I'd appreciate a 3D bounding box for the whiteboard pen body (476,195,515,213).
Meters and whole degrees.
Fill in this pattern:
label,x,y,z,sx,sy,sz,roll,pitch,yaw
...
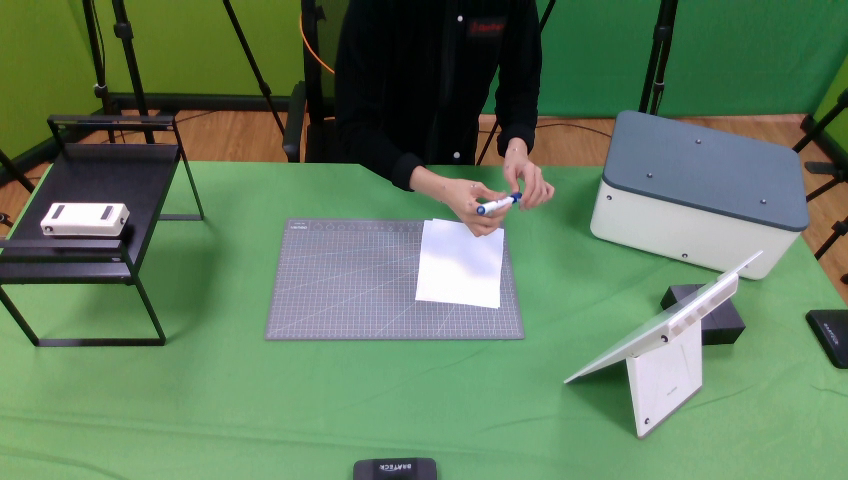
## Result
label,x,y,z,sx,sy,sz,roll,pitch,yaw
whiteboard pen body,0.126,-0.063,1.034,0.017,0.017,0.141,31,26,23

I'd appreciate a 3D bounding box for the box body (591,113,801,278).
label,x,y,z,sx,sy,sz,roll,pitch,yaw
box body,0.540,-0.092,1.229,0.363,0.161,0.253,16,47,11

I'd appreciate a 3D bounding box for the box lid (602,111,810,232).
label,x,y,z,sx,sy,sz,roll,pitch,yaw
box lid,0.545,-0.143,1.176,0.371,0.015,0.262,15,47,11

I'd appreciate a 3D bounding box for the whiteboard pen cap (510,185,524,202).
label,x,y,z,sx,sy,sz,roll,pitch,yaw
whiteboard pen cap,0.165,-0.083,1.090,0.018,0.018,0.033,26,50,19

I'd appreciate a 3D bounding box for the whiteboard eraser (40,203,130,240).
label,x,y,z,sx,sy,sz,roll,pitch,yaw
whiteboard eraser,-0.513,-0.028,0.922,0.113,0.042,0.055,1,48,-3

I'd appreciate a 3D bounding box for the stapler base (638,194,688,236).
label,x,y,z,sx,sy,sz,roll,pitch,yaw
stapler base,0.509,-0.059,1.278,0.041,0.024,0.129,-2,40,-29

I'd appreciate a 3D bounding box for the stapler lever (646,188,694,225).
label,x,y,z,sx,sy,sz,roll,pitch,yaw
stapler lever,0.515,-0.078,1.265,0.027,0.040,0.117,-2,41,-29

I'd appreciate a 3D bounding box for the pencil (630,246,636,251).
label,x,y,z,sx,sy,sz,roll,pitch,yaw
pencil,0.431,-0.060,1.284,0.012,0.012,0.193,3,58,-1

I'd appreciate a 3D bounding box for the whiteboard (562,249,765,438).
label,x,y,z,sx,sy,sz,roll,pitch,yaw
whiteboard,0.386,0.175,0.905,0.217,0.306,0.143,-26,72,-26
